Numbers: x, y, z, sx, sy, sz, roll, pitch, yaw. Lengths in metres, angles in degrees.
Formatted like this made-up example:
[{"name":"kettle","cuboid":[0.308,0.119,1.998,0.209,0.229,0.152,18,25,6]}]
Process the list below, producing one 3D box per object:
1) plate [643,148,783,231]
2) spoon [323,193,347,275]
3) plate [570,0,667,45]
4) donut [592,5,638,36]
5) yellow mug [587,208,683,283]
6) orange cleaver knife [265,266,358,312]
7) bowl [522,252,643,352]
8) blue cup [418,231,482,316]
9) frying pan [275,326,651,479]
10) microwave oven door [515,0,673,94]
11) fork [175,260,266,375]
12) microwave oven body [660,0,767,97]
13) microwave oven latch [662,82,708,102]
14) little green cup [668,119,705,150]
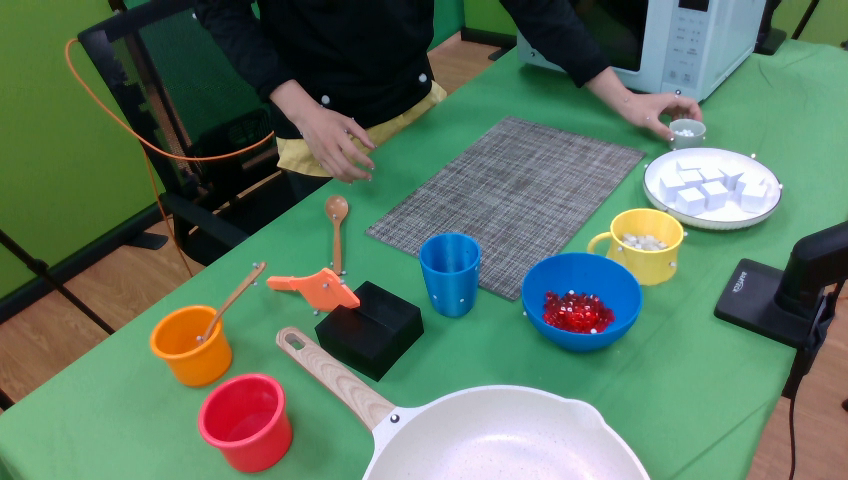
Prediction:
[{"name":"plate","cuboid":[0.464,-0.080,0.986,0.207,0.039,0.206,-4,41,4]},{"name":"spoon","cuboid":[-0.148,-0.014,1.008,0.042,0.022,0.192,1,40,-9]},{"name":"plate","cuboid":[0.436,-0.490,1.368,0.209,0.038,0.208,-5,40,5]},{"name":"donut","cuboid":[0.428,-0.492,1.352,0.099,0.048,0.098,-6,41,6]},{"name":"yellow mug","cuboid":[0.305,0.009,0.884,0.131,0.064,0.099,-4,41,5]},{"name":"orange cleaver knife","cuboid":[-0.164,0.073,0.864,0.210,0.077,0.012,-6,31,50]},{"name":"bowl","cuboid":[0.204,0.093,0.792,0.151,0.077,0.150,-4,40,4]},{"name":"blue cup","cuboid":[0.040,0.053,0.843,0.092,0.100,0.092,-4,43,4]},{"name":"frying pan","cuboid":[0.004,0.229,0.641,0.484,0.103,0.308,34,54,28]},{"name":"microwave oven door","cuboid":[0.344,-0.458,1.256,0.353,0.245,0.039,26,51,33]},{"name":"fork","cuboid":[-0.268,0.102,0.792,0.207,0.019,0.028,-51,41,16]},{"name":"microwave oven body","cuboid":[0.473,-0.516,1.313,0.438,0.261,0.327,26,51,34]},{"name":"microwave oven latch","cuboid":[0.517,-0.298,1.202,0.078,0.029,0.030,27,52,34]},{"name":"little green cup","cuboid":[0.473,-0.188,1.096,0.061,0.039,0.061,-6,40,5]}]
